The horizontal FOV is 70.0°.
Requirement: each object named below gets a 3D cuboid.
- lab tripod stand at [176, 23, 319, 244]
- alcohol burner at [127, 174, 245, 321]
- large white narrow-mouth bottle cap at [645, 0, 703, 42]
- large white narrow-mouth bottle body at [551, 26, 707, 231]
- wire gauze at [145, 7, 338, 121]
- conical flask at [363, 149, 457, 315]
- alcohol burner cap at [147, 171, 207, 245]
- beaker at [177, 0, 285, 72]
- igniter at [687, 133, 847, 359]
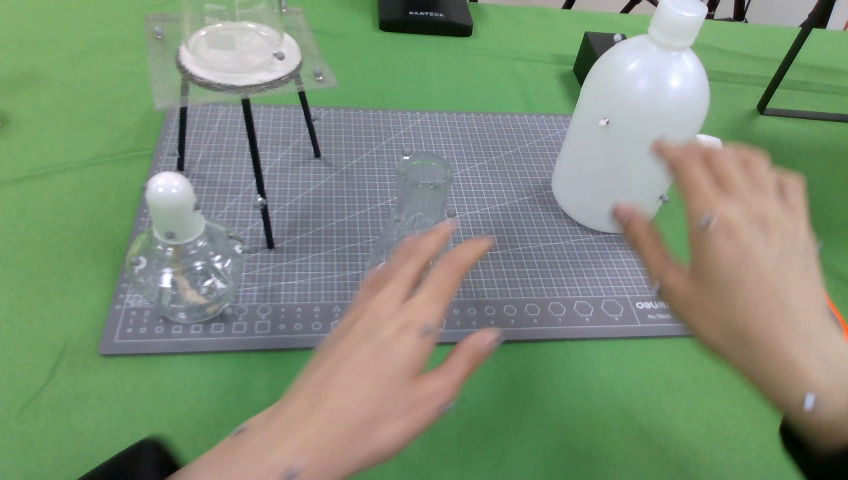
[{"bbox_3d":[-0.140,-0.091,0.491,0.149,0.132,0.147,6,47,-6],"label":"lab tripod stand"},{"bbox_3d":[-0.164,0.001,0.414,0.078,0.120,0.077,6,45,-6],"label":"alcohol burner"},{"bbox_3d":[0.186,-0.166,0.450,0.038,0.024,0.037,4,46,-4],"label":"large white narrow-mouth bottle cap"},{"bbox_3d":[0.178,-0.105,0.513,0.102,0.196,0.101,4,46,-4],"label":"large white narrow-mouth bottle body"},{"bbox_3d":[-0.137,-0.138,0.445,0.122,0.011,0.123,-12,54,-17],"label":"wire gauze"},{"bbox_3d":[-0.005,-0.007,0.441,0.075,0.123,0.074,5,46,-4],"label":"conical flask"},{"bbox_3d":[-0.159,-0.023,0.387,0.034,0.048,0.033,4,52,-5],"label":"alcohol burner cap"},{"bbox_3d":[-0.135,-0.173,0.410,0.084,0.101,0.073,-5,49,-13],"label":"beaker"},{"bbox_3d":[0.312,-0.008,0.563,0.057,0.025,0.273,8,45,-16],"label":"igniter"}]
